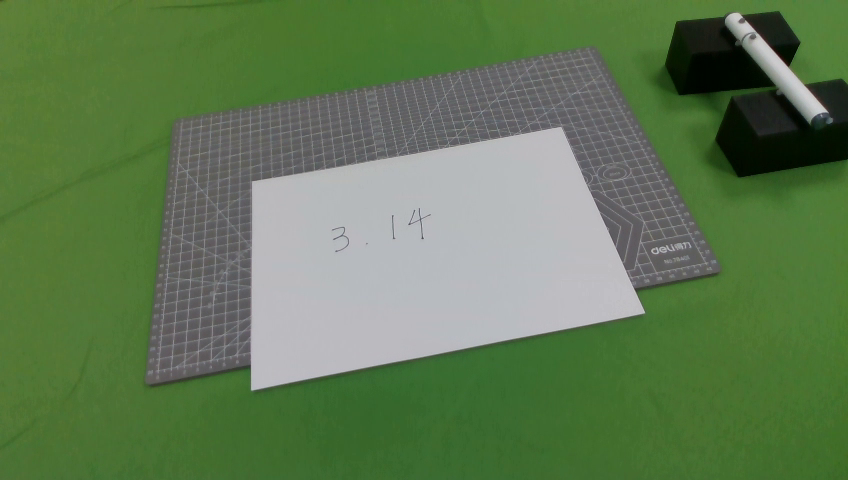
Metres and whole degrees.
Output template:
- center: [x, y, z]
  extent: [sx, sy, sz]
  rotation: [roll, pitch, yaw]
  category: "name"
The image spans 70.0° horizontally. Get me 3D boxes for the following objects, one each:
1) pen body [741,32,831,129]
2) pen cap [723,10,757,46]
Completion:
- center: [0.304, -0.148, 0.525]
  extent: [0.017, 0.017, 0.142]
  rotation: [-11, 53, -2]
  category: "pen body"
- center: [0.292, -0.197, 0.561]
  extent: [0.017, 0.017, 0.038]
  rotation: [-13, 55, -3]
  category: "pen cap"
